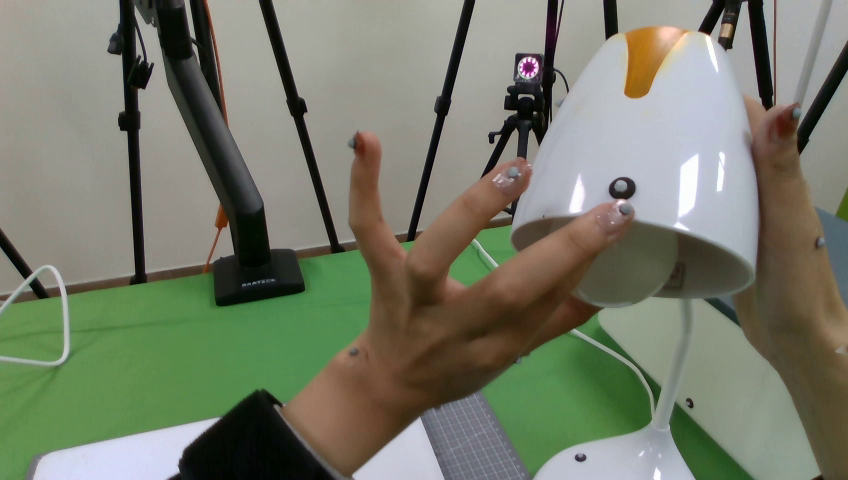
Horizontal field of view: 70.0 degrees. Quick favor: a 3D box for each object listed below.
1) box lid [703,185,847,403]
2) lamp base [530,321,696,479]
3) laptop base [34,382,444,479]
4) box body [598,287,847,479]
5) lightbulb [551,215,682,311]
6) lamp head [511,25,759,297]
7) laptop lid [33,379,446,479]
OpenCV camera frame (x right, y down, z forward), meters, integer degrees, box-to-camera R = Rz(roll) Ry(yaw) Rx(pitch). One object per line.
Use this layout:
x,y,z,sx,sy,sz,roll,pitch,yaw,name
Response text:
0.382,0.028,0.608,0.264,0.015,0.367,-8,29,-17,box lid
0.174,0.163,0.492,0.159,0.181,0.179,17,29,27,lamp base
-0.156,0.238,0.523,0.355,0.023,0.233,-8,32,-15,laptop base
0.383,0.095,0.642,0.255,0.161,0.360,-9,29,-17,box body
0.102,-0.017,0.290,0.059,0.107,0.059,27,1,0,lightbulb
0.111,-0.040,0.304,0.112,0.113,0.122,11,69,19,lamp head
-0.155,0.229,0.515,0.358,0.013,0.239,-7,31,-14,laptop lid
